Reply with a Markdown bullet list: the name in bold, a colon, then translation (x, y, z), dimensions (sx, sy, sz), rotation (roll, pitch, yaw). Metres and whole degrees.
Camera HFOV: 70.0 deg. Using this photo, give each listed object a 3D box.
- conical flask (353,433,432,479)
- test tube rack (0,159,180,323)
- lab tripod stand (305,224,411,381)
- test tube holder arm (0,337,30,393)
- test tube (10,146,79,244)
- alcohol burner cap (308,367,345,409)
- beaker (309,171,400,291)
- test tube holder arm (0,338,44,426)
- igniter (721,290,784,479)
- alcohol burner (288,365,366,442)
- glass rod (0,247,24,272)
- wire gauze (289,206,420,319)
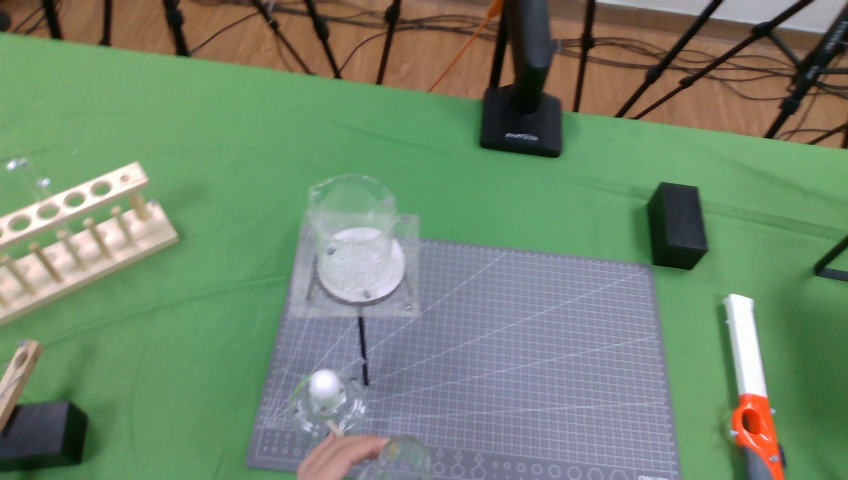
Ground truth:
- **conical flask**: translation (-0.021, 0.190, 0.479), dimensions (0.075, 0.123, 0.074), rotation (4, 53, -5)
- **test tube rack**: translation (-0.413, 0.006, 0.678), dimensions (0.242, 0.086, 0.066), rotation (-29, 64, -22)
- **lab tripod stand**: translation (-0.067, 0.059, 0.646), dimensions (0.148, 0.132, 0.147), rotation (3, 58, -5)
- **test tube holder arm**: translation (-0.403, 0.172, 0.555), dimensions (0.013, 0.015, 0.177), rotation (9, 56, 0)
- **test tube**: translation (-0.404, -0.042, 0.651), dimensions (0.017, 0.151, 0.017), rotation (4, 52, -4)
- **alcohol burner cap**: translation (-0.092, 0.136, 0.563), dimensions (0.034, 0.048, 0.033), rotation (0, 61, 0)
- **beaker**: translation (-0.065, -0.005, 0.551), dimensions (0.083, 0.101, 0.073), rotation (29, 60, 12)
- **test tube holder arm**: translation (-0.391, 0.136, 0.580), dimensions (0.010, 0.015, 0.087), rotation (10, 56, 1)
- **igniter**: translation (0.365, 0.181, 0.678), dimensions (0.057, 0.025, 0.274), rotation (16, 56, -8)
- **alcohol burner**: translation (-0.095, 0.154, 0.595), dimensions (0.078, 0.120, 0.077), rotation (4, 56, -5)
- **glass rod**: translation (-0.462, -0.022, 0.612), dimensions (0.008, 0.201, 0.008), rotation (0, 53, 1)
- **wire gauze**: translation (-0.065, 0.020, 0.594), dimensions (0.121, 0.011, 0.124), rotation (2, 61, -3)
